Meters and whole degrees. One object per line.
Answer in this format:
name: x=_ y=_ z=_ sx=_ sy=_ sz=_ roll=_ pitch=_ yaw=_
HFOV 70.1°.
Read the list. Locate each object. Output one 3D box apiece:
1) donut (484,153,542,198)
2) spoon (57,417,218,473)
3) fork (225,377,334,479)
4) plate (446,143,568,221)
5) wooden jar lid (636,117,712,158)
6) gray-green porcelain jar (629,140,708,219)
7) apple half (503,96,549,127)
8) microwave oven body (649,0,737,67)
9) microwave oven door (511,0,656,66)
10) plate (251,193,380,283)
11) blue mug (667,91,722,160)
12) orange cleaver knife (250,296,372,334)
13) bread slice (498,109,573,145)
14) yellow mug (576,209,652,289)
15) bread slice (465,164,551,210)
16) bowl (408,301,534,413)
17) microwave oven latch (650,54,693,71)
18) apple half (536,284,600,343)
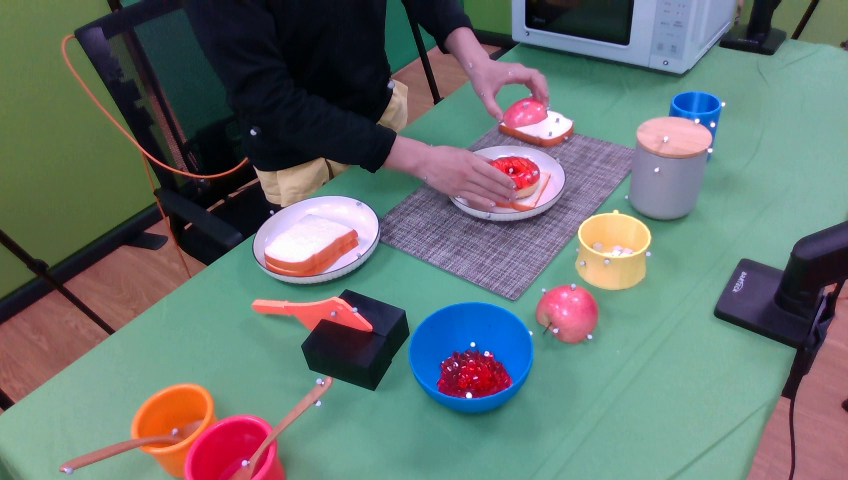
donut: x=0.149 y=-0.109 z=1.015 sx=0.099 sy=0.048 sz=0.098 roll=-4 pitch=44 yaw=4
spoon: x=-0.304 y=0.221 z=0.661 sx=0.041 sy=0.195 sz=0.021 roll=19 pitch=92 yaw=27
fork: x=-0.163 y=0.216 z=0.646 sx=0.207 sy=0.019 sz=0.028 roll=-49 pitch=42 yaw=16
plate: x=0.142 y=-0.097 z=1.045 sx=0.207 sy=0.039 sz=0.206 roll=-4 pitch=41 yaw=4
wooden jar lid: x=0.377 y=-0.151 z=0.917 sx=0.108 sy=0.021 sz=0.108 roll=-2 pitch=41 yaw=2
gray-green porcelain jar: x=0.383 y=-0.105 z=0.958 sx=0.106 sy=0.127 sz=0.105 roll=-4 pitch=41 yaw=4
apple half: x=0.167 y=-0.220 z=1.011 sx=0.081 sy=0.033 sz=0.081 roll=-11 pitch=33 yaw=8
microwave oven body: x=0.475 y=-0.602 z=1.411 sx=0.438 sy=0.261 sz=0.327 roll=23 pitch=50 yaw=32
microwave oven door: x=0.351 y=-0.539 z=1.348 sx=0.353 sy=0.245 sz=0.039 roll=24 pitch=50 yaw=31
plate: x=-0.173 y=-0.001 z=0.984 sx=0.209 sy=0.038 sz=0.208 roll=-4 pitch=40 yaw=4
blue mug: x=0.474 y=-0.207 z=1.079 sx=0.082 sy=0.106 sz=0.116 roll=4 pitch=42 yaw=13
orange cleaver knife: x=-0.158 y=0.103 z=0.828 sx=0.210 sy=0.078 sz=0.012 roll=-4 pitch=43 yaw=39
bread slice: x=0.231 y=-0.232 z=1.205 sx=0.105 sy=0.019 sz=0.130 roll=-36 pitch=47 yaw=-29
yellow mug: x=0.279 y=0.004 z=0.893 sx=0.099 sy=0.064 sz=0.130 roll=5 pitch=42 yaw=14
bread slice: x=0.140 y=-0.094 z=1.041 sx=0.133 sy=0.018 sz=0.107 roll=10 pitch=43 yaw=21
bowl: x=0.060 y=0.156 z=0.739 sx=0.151 sy=0.077 sz=0.150 roll=-4 pitch=40 yaw=4
microwave oven latch: x=0.531 y=-0.386 z=1.301 sx=0.078 sy=0.029 sz=0.030 roll=26 pitch=51 yaw=33
apple half: x=0.196 y=0.091 z=0.815 sx=0.075 sy=0.053 sz=0.080 roll=-22 pitch=42 yaw=-20
